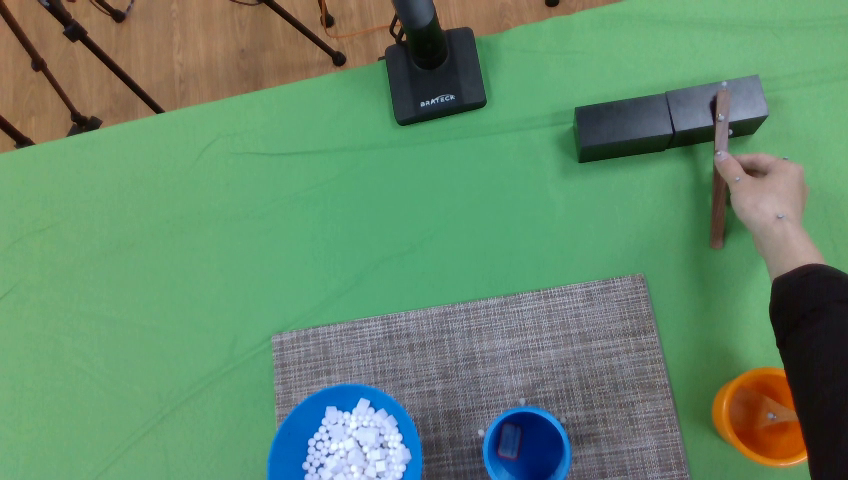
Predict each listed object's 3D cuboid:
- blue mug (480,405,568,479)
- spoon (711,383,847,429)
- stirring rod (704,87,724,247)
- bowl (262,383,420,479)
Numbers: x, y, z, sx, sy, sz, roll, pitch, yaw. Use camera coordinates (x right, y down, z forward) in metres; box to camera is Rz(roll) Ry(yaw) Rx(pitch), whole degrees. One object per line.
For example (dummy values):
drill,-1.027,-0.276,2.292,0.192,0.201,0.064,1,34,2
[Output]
blue mug,0.095,0.225,0.616,0.082,0.106,0.116,28,83,16
spoon,0.363,0.165,0.563,0.022,0.193,0.041,21,75,-30
stirring rod,0.321,-0.079,0.670,0.014,0.006,0.176,-1,98,5
bowl,-0.076,0.228,0.612,0.151,0.077,0.150,-1,65,3
